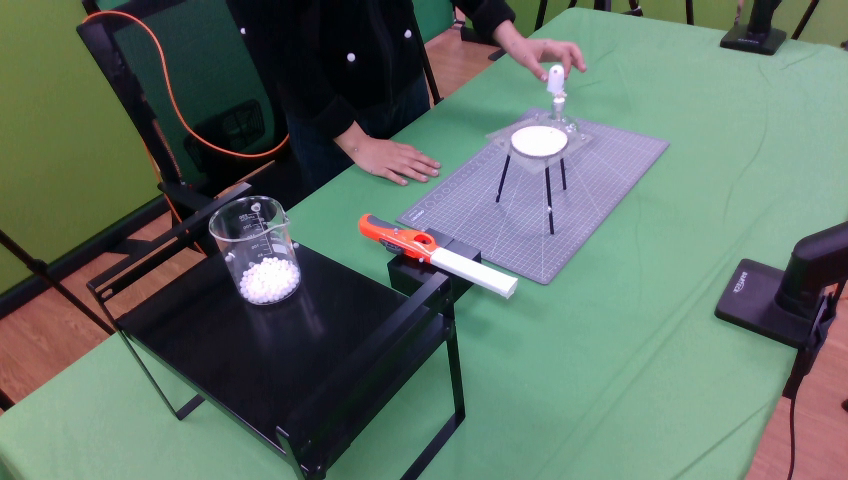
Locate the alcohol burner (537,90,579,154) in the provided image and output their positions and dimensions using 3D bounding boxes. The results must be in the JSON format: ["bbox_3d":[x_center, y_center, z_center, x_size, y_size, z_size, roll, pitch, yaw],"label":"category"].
[{"bbox_3d":[0.248,-0.220,1.121,0.078,0.119,0.077,-5,39,5],"label":"alcohol burner"}]

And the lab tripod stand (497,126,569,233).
[{"bbox_3d":[0.188,-0.104,0.978,0.148,0.132,0.147,-3,41,3],"label":"lab tripod stand"}]

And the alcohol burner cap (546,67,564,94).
[{"bbox_3d":[0.249,-0.302,1.135,0.034,0.048,0.033,-2,43,2],"label":"alcohol burner cap"}]

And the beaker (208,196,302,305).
[{"bbox_3d":[-0.173,0.014,0.647,0.084,0.101,0.073,-1,41,8],"label":"beaker"}]

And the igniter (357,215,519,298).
[{"bbox_3d":[0.010,0.018,0.876,0.274,0.025,0.057,23,46,28],"label":"igniter"}]

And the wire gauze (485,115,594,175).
[{"bbox_3d":[0.177,-0.154,0.935,0.122,0.011,0.124,-27,45,-21],"label":"wire gauze"}]
